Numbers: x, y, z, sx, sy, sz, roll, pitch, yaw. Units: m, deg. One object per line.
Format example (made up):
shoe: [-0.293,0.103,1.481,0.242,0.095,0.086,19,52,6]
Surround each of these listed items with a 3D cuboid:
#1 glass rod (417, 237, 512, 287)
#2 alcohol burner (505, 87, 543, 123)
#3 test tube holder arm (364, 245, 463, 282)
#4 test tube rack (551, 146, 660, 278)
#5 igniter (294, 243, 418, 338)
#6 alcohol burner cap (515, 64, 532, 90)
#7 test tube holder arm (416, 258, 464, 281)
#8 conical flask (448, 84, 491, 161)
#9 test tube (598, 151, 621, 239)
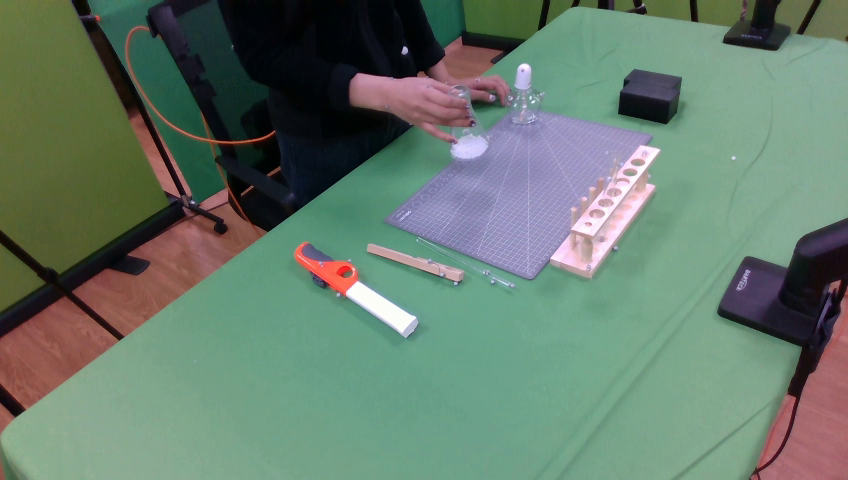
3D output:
glass rod: [0.058,0.033,0.945,0.198,0.008,0.008,26,52,38]
alcohol burner: [0.202,-0.298,1.222,0.078,0.119,0.077,-4,40,4]
test tube holder arm: [-0.020,0.035,0.947,0.177,0.015,0.013,15,10,26]
test tube rack: [0.286,-0.053,0.943,0.066,0.085,0.243,21,49,32]
igniter: [-0.114,0.070,0.919,0.274,0.025,0.057,29,63,37]
alcohol burner cap: [0.199,-0.324,1.198,0.034,0.048,0.033,0,46,1]
test tube holder arm: [0.022,0.045,0.931,0.087,0.015,0.010,16,10,28]
conical flask: [0.069,-0.201,1.023,0.075,0.122,0.075,-9,43,9]
test tube: [0.269,-0.062,0.880,0.017,0.151,0.017,-3,39,3]
